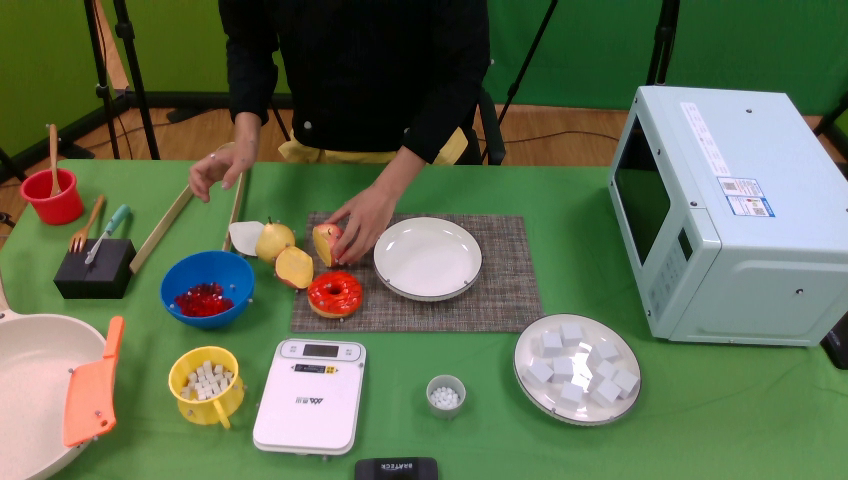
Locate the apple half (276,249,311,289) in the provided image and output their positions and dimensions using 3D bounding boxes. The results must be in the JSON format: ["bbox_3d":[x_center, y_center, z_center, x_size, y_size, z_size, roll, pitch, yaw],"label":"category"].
[{"bbox_3d":[-0.244,0.057,1.113,0.082,0.033,0.081,39,32,-30],"label":"apple half"}]

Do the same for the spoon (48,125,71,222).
[{"bbox_3d":[-0.719,-0.131,1.189,0.041,0.021,0.193,-3,91,-6],"label":"spoon"}]

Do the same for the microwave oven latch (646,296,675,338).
[{"bbox_3d":[0.412,0.134,1.061,0.030,0.029,0.078,4,45,1],"label":"microwave oven latch"}]

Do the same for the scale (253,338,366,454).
[{"bbox_3d":[-0.175,0.236,0.951,0.149,0.032,0.199,4,45,-1],"label":"scale"}]

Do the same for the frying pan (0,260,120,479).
[{"bbox_3d":[-0.647,0.164,0.936,0.307,0.103,0.485,-19,58,-22],"label":"frying pan"}]

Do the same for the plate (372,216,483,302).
[{"bbox_3d":[0.006,0.038,1.145,0.209,0.038,0.208,2,46,-2],"label":"plate"}]

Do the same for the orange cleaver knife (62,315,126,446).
[{"bbox_3d":[-0.480,0.199,0.887,0.077,0.012,0.210,-9,47,-8],"label":"orange cleaver knife"}]

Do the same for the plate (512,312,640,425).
[{"bbox_3d":[0.246,0.213,0.999,0.208,0.039,0.206,2,46,-2],"label":"plate"}]

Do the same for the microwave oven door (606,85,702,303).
[{"bbox_3d":[0.422,-0.094,1.140,0.039,0.245,0.353,2,46,-1],"label":"microwave oven door"}]

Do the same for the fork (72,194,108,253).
[{"bbox_3d":[-0.634,-0.036,1.158,0.028,0.019,0.206,-7,31,-9],"label":"fork"}]

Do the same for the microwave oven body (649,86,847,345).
[{"bbox_3d":[0.567,-0.053,1.118,0.326,0.261,0.439,2,45,-1],"label":"microwave oven body"}]

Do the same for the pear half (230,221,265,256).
[{"bbox_3d":[-0.333,0.000,1.166,0.088,0.031,0.070,30,53,4],"label":"pear half"}]

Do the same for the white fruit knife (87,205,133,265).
[{"bbox_3d":[-0.584,-0.013,1.129,0.016,0.027,0.206,-1,32,-4],"label":"white fruit knife"}]

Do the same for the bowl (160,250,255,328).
[{"bbox_3d":[-0.362,0.098,1.039,0.151,0.077,0.150,2,45,-2],"label":"bowl"}]

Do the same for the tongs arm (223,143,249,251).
[{"bbox_3d":[-0.397,-0.074,1.232,0.051,0.026,0.382,-1,45,-1],"label":"tongs arm"}]

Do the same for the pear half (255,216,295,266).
[{"bbox_3d":[-0.270,0.001,1.117,0.056,0.110,0.076,25,54,19],"label":"pear half"}]

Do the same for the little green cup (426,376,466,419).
[{"bbox_3d":[0.033,0.248,0.950,0.061,0.039,0.061,2,46,-2],"label":"little green cup"}]

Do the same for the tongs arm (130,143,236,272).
[{"bbox_3d":[-0.483,-0.080,1.233,0.028,0.028,0.385,7,45,12],"label":"tongs arm"}]

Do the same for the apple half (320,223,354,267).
[{"bbox_3d":[-0.159,0.007,1.141,0.053,0.075,0.080,-18,41,-13],"label":"apple half"}]

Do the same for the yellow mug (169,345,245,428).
[{"bbox_3d":[-0.322,0.230,0.922,0.100,0.064,0.130,-24,53,-25],"label":"yellow mug"}]

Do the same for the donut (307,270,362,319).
[{"bbox_3d":[-0.158,0.096,1.073,0.099,0.048,0.098,4,45,-4],"label":"donut"}]
